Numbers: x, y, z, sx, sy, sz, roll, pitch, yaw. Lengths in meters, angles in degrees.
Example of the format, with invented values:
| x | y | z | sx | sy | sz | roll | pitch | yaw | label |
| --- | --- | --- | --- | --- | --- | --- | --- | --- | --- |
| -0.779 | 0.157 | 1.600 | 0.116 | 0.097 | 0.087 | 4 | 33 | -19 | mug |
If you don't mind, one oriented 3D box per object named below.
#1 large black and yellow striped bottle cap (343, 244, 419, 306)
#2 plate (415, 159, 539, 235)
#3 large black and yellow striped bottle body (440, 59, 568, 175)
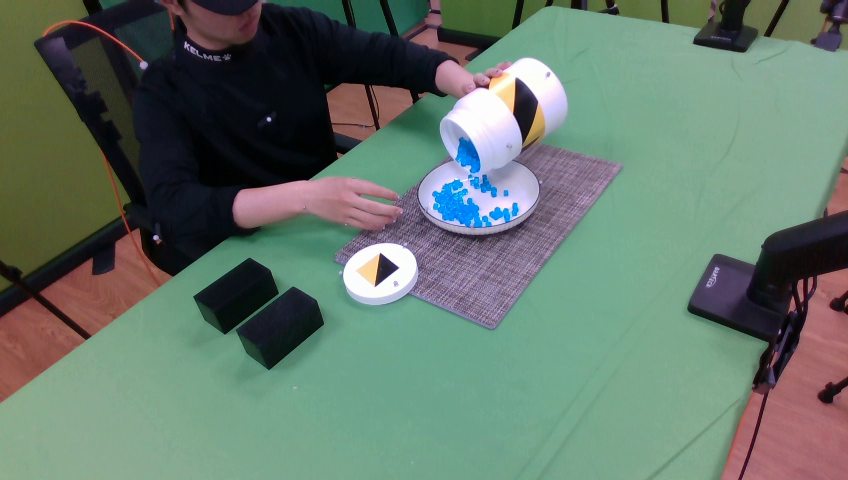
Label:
| x | y | z | sx | sy | sz | roll | pitch | yaw | label |
| --- | --- | --- | --- | --- | --- | --- | --- | --- | --- |
| -0.066 | 0.051 | 0.918 | 0.115 | 0.019 | 0.114 | -6 | 43 | 6 | large black and yellow striped bottle cap |
| 0.090 | -0.074 | 1.025 | 0.207 | 0.039 | 0.206 | -4 | 41 | 4 | plate |
| 0.129 | -0.200 | 0.998 | 0.184 | 0.131 | 0.129 | -36 | 47 | -16 | large black and yellow striped bottle body |
